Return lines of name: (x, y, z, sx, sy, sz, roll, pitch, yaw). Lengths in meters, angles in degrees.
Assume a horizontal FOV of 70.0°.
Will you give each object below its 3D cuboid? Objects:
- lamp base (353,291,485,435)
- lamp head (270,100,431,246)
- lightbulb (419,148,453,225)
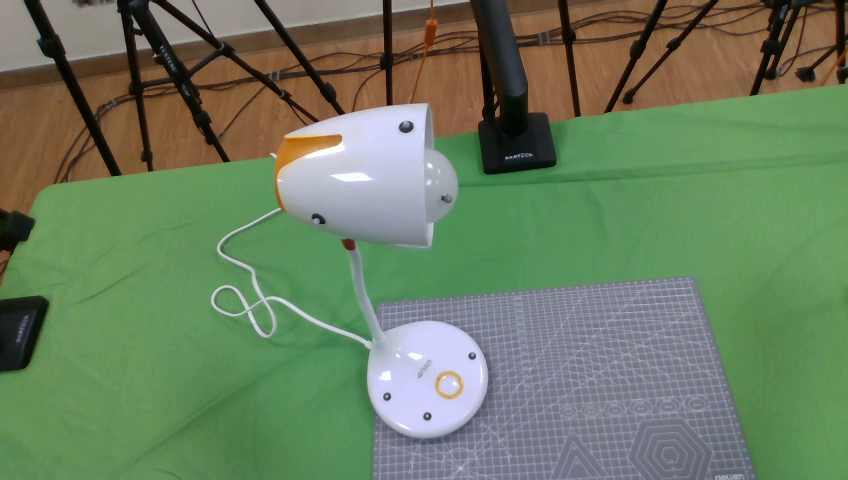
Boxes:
lamp base: (-0.021, 0.132, 0.740, 0.178, 0.182, 0.160, 16, 60, 22)
lamp head: (-0.054, -0.048, 0.471, 0.123, 0.113, 0.111, -3, 57, 9)
lightbulb: (-0.031, -0.038, 0.464, 0.107, 0.060, 0.059, -5, 56, 8)
